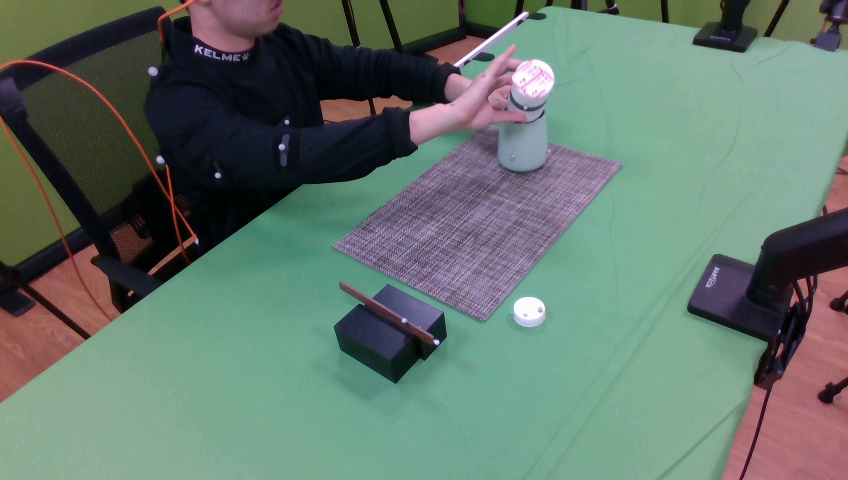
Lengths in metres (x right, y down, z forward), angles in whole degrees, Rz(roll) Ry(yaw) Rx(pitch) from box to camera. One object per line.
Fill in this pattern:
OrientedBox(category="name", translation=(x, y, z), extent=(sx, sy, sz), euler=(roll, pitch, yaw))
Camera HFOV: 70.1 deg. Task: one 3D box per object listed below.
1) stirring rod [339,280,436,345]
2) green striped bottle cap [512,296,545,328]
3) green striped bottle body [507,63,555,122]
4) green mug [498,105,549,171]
OrientedBox(category="stirring rod", translation=(-0.052, 0.093, 0.795), extent=(0.174, 0.014, 0.006), euler=(27, 47, 33))
OrientedBox(category="green striped bottle cap", translation=(0.144, 0.099, 0.837), extent=(0.044, 0.020, 0.044), euler=(-2, 44, 2))
OrientedBox(category="green striped bottle body", translation=(0.170, -0.234, 0.981), extent=(0.063, 0.119, 0.063), euler=(0, 81, 0))
OrientedBox(category="green mug", translation=(0.182, -0.196, 1.101), extent=(0.092, 0.105, 0.125), euler=(3, 41, 12))
